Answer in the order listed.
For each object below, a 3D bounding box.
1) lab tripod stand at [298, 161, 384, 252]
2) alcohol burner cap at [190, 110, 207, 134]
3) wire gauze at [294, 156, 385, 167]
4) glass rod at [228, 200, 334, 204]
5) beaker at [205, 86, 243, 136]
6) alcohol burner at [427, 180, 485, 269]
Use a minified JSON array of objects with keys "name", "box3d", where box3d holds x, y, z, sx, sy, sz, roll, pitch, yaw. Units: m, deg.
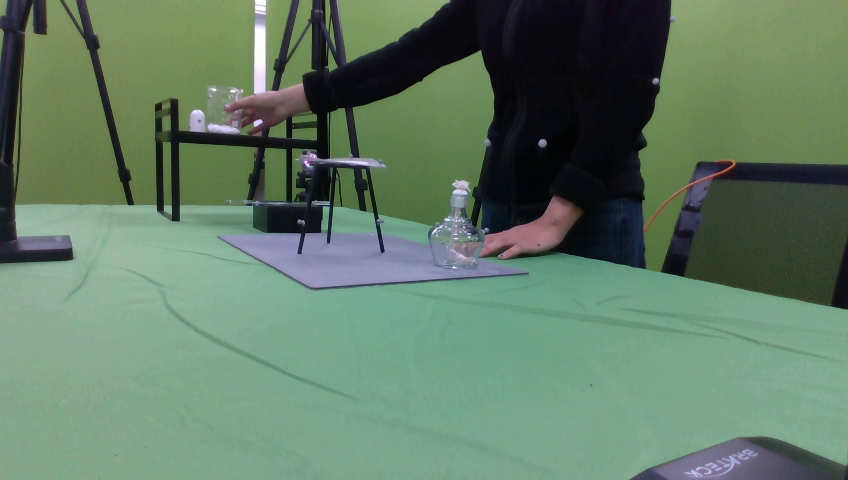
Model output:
[{"name":"lab tripod stand","box3d":[-0.130,-0.051,0.903,0.148,0.131,0.148,3,9,0]},{"name":"alcohol burner cap","box3d":[-0.464,-0.242,1.241,0.034,0.048,0.034,1,7,0]},{"name":"wire gauze","box3d":[-0.128,-0.118,0.901,0.125,0.011,0.121,0,8,-14]},{"name":"glass rod","box3d":[-0.267,-0.072,1.148,0.201,0.008,0.008,-1,8,-28]},{"name":"beaker","box3d":[-0.430,-0.278,1.310,0.084,0.100,0.074,5,8,13]},{"name":"alcohol burner","box3d":[0.044,-0.021,0.807,0.078,0.119,0.078,4,6,0]}]
